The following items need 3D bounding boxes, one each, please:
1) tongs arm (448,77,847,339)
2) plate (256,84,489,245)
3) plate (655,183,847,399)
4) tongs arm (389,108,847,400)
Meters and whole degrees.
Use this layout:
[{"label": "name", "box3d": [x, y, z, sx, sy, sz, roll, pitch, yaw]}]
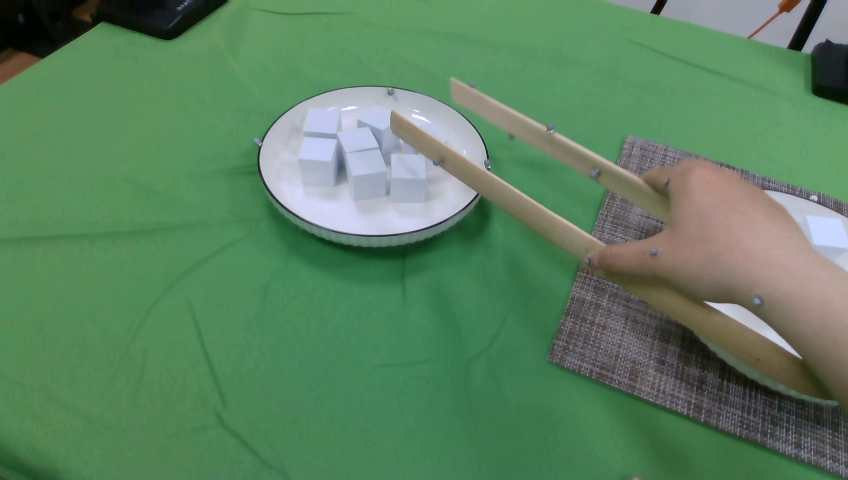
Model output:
[{"label": "tongs arm", "box3d": [0.137, -0.031, 0.444, 0.051, 0.027, 0.381, -35, 54, -27]}, {"label": "plate", "box3d": [-0.046, -0.069, 0.561, 0.209, 0.038, 0.207, 3, 48, -3]}, {"label": "plate", "box3d": [0.289, 0.038, 0.492, 0.208, 0.039, 0.205, 3, 49, -3]}, {"label": "tongs arm", "box3d": [0.105, -0.010, 0.427, 0.028, 0.028, 0.384, -34, 53, -30]}]
